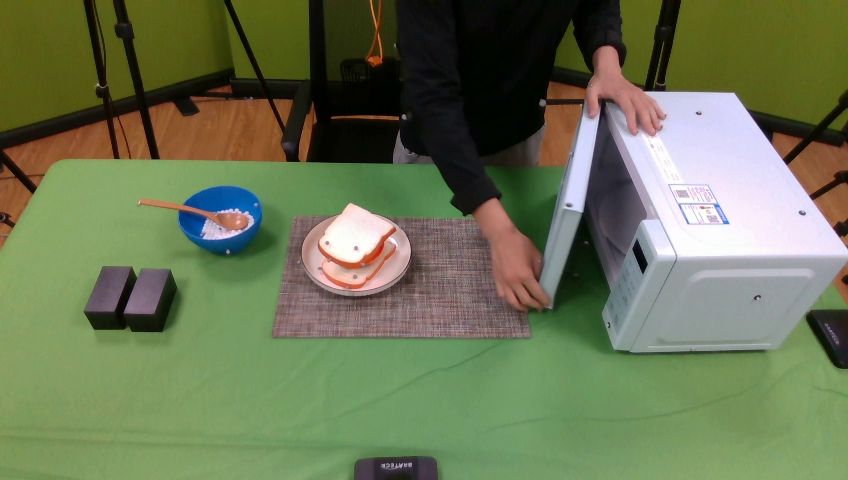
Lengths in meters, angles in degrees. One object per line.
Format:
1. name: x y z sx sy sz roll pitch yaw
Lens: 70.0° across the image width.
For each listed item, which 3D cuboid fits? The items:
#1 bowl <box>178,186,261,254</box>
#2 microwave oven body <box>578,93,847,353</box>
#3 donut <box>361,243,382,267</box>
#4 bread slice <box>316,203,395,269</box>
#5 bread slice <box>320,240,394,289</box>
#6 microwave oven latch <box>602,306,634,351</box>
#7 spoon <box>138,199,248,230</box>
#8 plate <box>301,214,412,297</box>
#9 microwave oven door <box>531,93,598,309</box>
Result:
1. bowl: -0.383 -0.026 1.158 0.151 0.077 0.150 2 46 -2
2. microwave oven body: 0.476 -0.041 1.110 0.326 0.261 0.438 -1 45 -4
3. donut: -0.126 0.011 1.127 0.099 0.048 0.098 3 44 -3
4. bread slice: -0.128 -0.005 1.100 0.104 0.019 0.131 27 52 13
5. bread slice: -0.129 0.036 1.140 0.107 0.018 0.134 19 48 14
6. microwave oven latch: 0.332 0.153 1.044 0.030 0.029 0.078 -1 45 -4
7. spoon: -0.431 -0.053 1.136 0.194 0.022 0.041 15 48 -20
8. plate: -0.126 0.031 1.145 0.208 0.039 0.206 2 46 -2
9. microwave oven door: 0.267 -0.082 1.126 0.039 0.245 0.354 15 46 10
